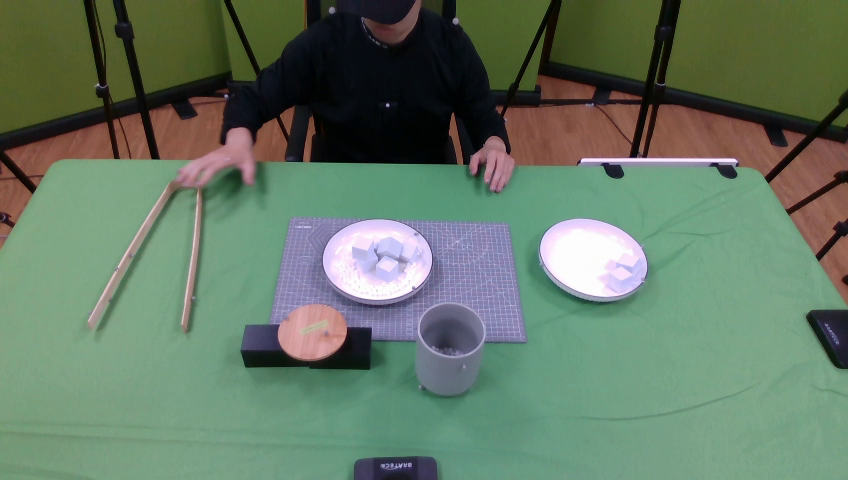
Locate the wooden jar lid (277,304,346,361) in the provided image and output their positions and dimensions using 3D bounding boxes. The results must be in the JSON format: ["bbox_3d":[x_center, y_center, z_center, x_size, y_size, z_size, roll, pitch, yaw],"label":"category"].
[{"bbox_3d":[-0.179,0.150,0.972,0.108,0.021,0.107,2,45,-2],"label":"wooden jar lid"}]

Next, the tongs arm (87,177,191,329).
[{"bbox_3d":[-0.523,0.009,1.139,0.051,0.026,0.382,5,45,-2],"label":"tongs arm"}]

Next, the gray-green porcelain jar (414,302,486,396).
[{"bbox_3d":[0.038,0.177,0.958,0.106,0.127,0.105,2,46,-2],"label":"gray-green porcelain jar"}]

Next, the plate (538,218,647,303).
[{"bbox_3d":[0.322,0.042,1.171,0.208,0.039,0.206,2,46,-2],"label":"plate"}]

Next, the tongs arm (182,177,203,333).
[{"bbox_3d":[-0.442,0.014,1.149,0.028,0.028,0.385,-7,47,-9],"label":"tongs arm"}]

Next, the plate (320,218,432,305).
[{"bbox_3d":[-0.089,0.044,1.134,0.209,0.038,0.208,3,46,-2],"label":"plate"}]
